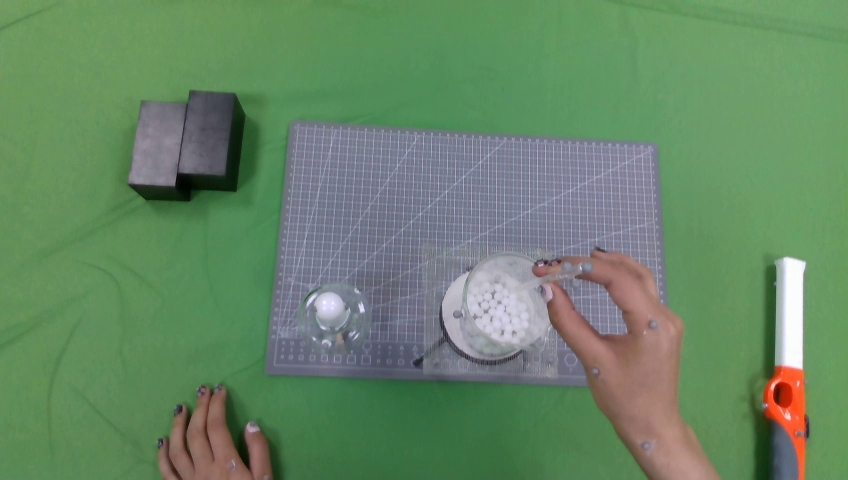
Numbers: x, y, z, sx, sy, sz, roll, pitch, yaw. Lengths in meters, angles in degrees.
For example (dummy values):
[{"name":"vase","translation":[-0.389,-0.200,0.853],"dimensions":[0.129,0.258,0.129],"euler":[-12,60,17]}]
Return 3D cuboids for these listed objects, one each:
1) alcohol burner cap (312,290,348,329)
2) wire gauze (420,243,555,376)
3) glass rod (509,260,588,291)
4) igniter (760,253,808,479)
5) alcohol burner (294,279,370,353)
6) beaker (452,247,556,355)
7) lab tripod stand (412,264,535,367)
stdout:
[{"name":"alcohol burner cap","translation":[-0.092,0.065,0.582],"dimensions":[0.034,0.048,0.033],"euler":[1,71,-2]},{"name":"wire gauze","translation":[0.057,0.061,0.553],"dimensions":[0.125,0.011,0.121],"euler":[2,73,-1]},{"name":"glass rod","translation":[0.084,0.028,0.440],"dimensions":[0.008,0.200,0.008],"euler":[1,82,-4]},{"name":"igniter","translation":[0.405,0.150,0.681],"dimensions":[0.057,0.025,0.275],"euler":[13,75,-12]},{"name":"alcohol burner","translation":[-0.094,0.074,0.617],"dimensions":[0.078,0.119,0.077],"euler":[1,73,-4]},{"name":"beaker","translation":[0.063,0.059,0.504],"dimensions":[0.074,0.100,0.083],"euler":[-29,78,-11]},{"name":"lab tripod stand","translation":[0.052,0.081,0.615],"dimensions":[0.148,0.132,0.147],"euler":[1,74,-2]}]
